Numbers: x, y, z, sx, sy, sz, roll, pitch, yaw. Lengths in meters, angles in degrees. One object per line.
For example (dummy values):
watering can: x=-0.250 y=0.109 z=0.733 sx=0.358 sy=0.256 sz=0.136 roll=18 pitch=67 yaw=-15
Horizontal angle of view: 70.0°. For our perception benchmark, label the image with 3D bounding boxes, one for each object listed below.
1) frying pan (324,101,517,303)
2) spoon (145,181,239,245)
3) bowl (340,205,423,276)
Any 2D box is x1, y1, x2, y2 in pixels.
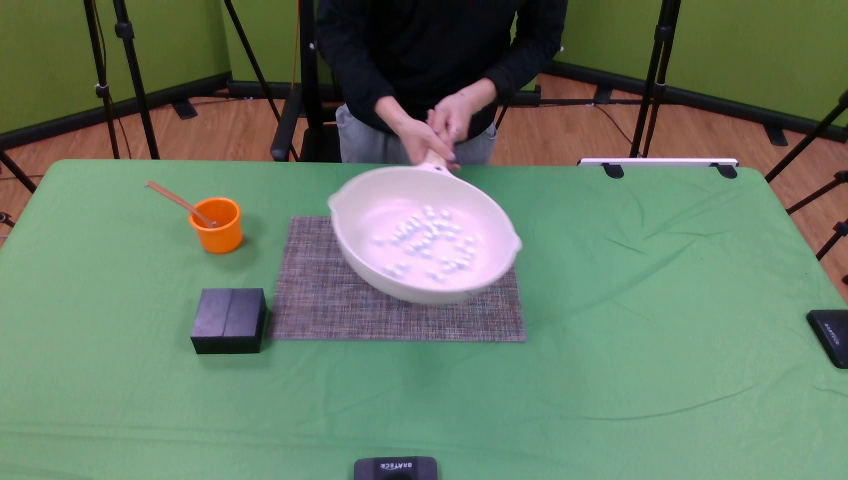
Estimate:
frying pan: x=0.004 y=-0.087 z=1.028 sx=0.307 sy=0.103 sz=0.485 roll=14 pitch=49 yaw=-4
spoon: x=-0.429 y=-0.052 z=1.126 sx=0.021 sy=0.195 sz=0.041 roll=-27 pitch=34 yaw=34
bowl: x=-0.079 y=0.014 z=1.133 sx=0.151 sy=0.077 sz=0.150 roll=2 pitch=47 yaw=-2
